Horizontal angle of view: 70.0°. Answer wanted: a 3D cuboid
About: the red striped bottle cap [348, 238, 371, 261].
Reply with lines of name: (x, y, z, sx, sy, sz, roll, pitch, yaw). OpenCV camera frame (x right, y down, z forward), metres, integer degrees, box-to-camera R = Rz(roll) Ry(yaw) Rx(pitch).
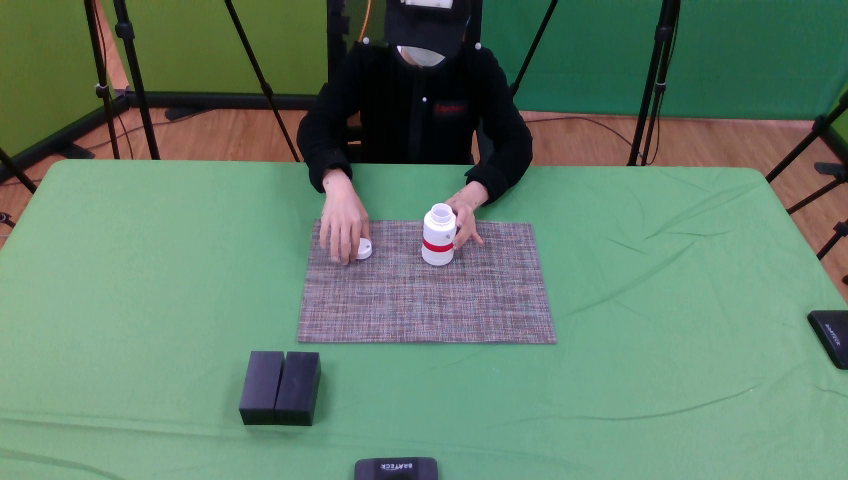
red striped bottle cap: (-0.125, 0.018, 1.164, 0.044, 0.018, 0.044, 1, 48, -1)

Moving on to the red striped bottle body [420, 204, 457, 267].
red striped bottle body: (0.027, -0.011, 1.139, 0.063, 0.120, 0.062, 3, 45, -3)
